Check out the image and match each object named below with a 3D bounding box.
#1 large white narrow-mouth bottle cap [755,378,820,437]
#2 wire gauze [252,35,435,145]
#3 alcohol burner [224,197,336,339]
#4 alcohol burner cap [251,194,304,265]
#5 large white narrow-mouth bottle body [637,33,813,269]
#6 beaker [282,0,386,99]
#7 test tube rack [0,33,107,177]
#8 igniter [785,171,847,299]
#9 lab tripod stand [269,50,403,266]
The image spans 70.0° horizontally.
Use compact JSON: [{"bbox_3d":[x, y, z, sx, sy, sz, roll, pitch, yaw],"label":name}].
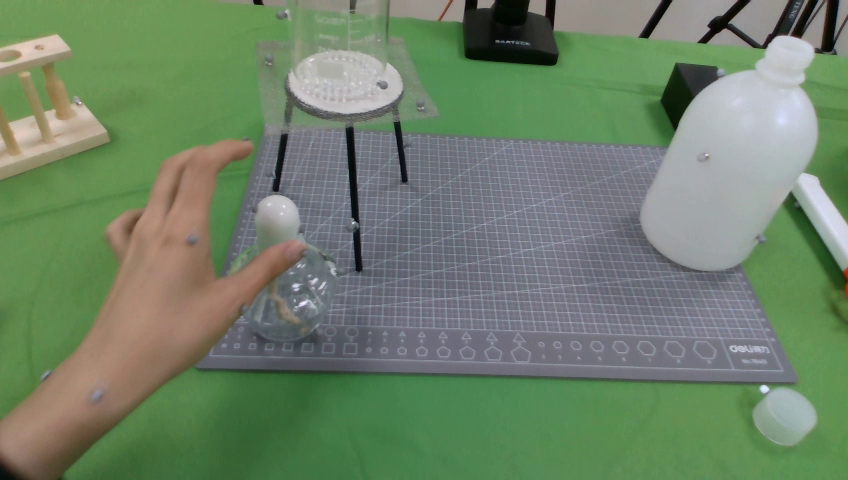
[{"bbox_3d":[0.261,0.121,0.436,0.038,0.024,0.037,3,45,-3],"label":"large white narrow-mouth bottle cap"},{"bbox_3d":[-0.064,-0.121,0.457,0.122,0.011,0.123,-9,51,-13],"label":"wire gauze"},{"bbox_3d":[-0.101,0.015,0.424,0.078,0.120,0.077,5,44,-5],"label":"alcohol burner"},{"bbox_3d":[-0.097,-0.009,0.398,0.034,0.048,0.033,3,51,-3],"label":"alcohol burner cap"},{"bbox_3d":[0.252,-0.072,0.497,0.102,0.196,0.101,3,45,-3],"label":"large white narrow-mouth bottle body"},{"bbox_3d":[-0.065,-0.158,0.423,0.084,0.101,0.073,-2,48,-9],"label":"beaker"},{"bbox_3d":[-0.417,-0.093,0.515,0.242,0.086,0.066,-30,56,-31],"label":"test tube rack"},{"bbox_3d":[0.385,0.032,0.533,0.057,0.025,0.273,11,44,-11],"label":"igniter"},{"bbox_3d":[-0.066,-0.073,0.502,0.148,0.132,0.147,5,46,-5],"label":"lab tripod stand"}]
